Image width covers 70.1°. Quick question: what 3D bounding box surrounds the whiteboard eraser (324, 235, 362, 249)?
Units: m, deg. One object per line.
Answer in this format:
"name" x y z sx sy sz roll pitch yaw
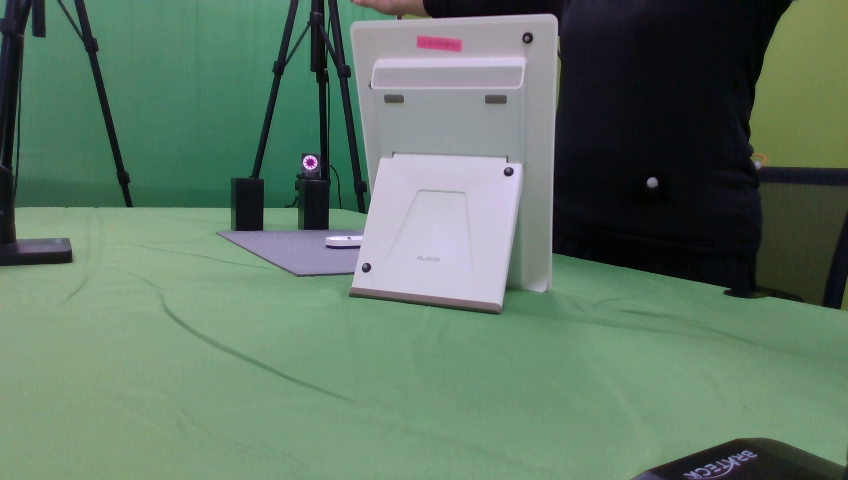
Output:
"whiteboard eraser" -0.112 0.002 0.974 0.102 0.019 0.041 -1 7 -32

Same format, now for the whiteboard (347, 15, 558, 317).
"whiteboard" 0.012 -0.056 0.609 0.216 0.305 0.144 5 27 19
